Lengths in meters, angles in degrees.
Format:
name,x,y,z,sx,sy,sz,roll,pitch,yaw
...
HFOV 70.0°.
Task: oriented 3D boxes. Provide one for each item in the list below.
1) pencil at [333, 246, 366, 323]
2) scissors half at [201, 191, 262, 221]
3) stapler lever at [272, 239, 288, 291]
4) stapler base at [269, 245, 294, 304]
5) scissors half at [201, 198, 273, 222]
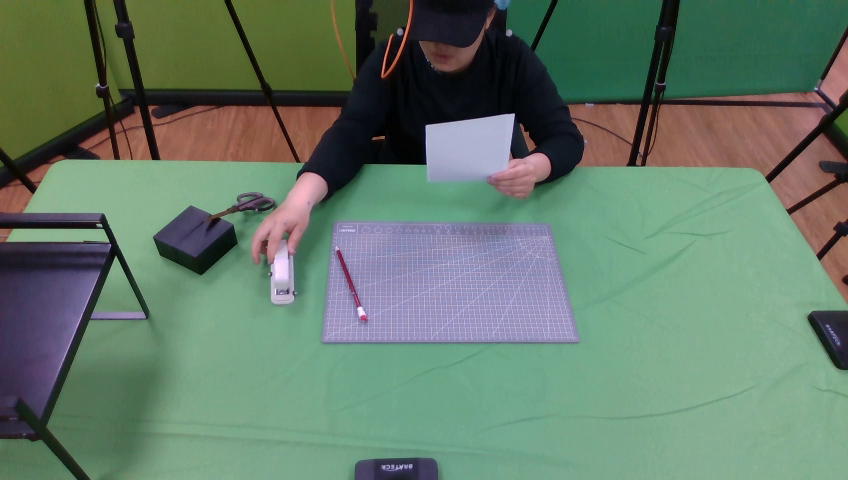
name,x,y,z,sx,sy,sz,roll,pitch,yaw
pencil,-0.140,0.077,1.116,0.012,0.012,0.192,-14,48,-17
scissors half,-0.381,-0.066,1.198,0.040,0.013,0.175,25,28,9
stapler lever,-0.260,0.040,1.091,0.027,0.040,0.117,-2,52,-14
stapler base,-0.262,0.057,1.110,0.041,0.024,0.129,-2,51,-14
scissors half,-0.365,-0.055,1.192,0.040,0.013,0.175,39,32,22
